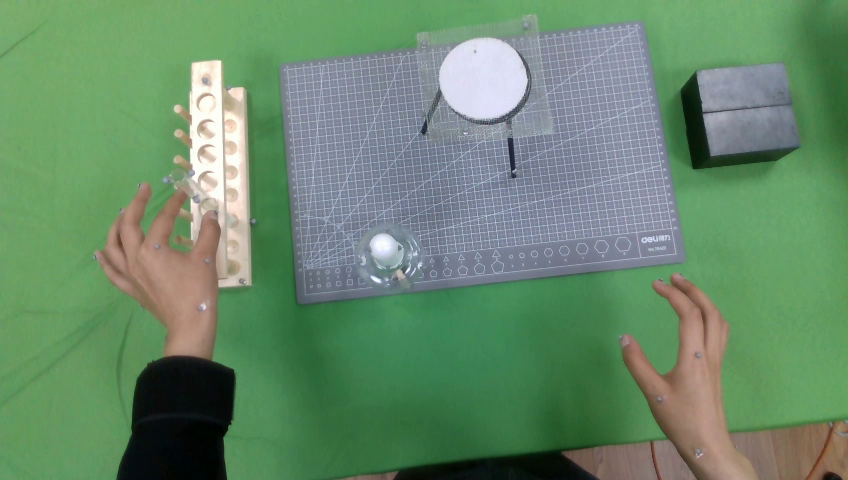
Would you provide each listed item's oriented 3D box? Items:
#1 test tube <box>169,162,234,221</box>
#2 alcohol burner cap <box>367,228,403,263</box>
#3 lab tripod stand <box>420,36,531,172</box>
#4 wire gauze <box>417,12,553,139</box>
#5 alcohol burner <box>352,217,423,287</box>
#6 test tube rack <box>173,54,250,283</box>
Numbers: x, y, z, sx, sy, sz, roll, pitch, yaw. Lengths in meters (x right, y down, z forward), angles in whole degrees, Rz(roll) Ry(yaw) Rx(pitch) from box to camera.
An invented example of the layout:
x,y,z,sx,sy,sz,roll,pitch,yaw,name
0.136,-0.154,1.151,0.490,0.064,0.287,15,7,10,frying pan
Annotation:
x,y,z,sx,sy,sz,roll,pitch,yaw,name
-0.228,-0.047,0.633,0.017,0.151,0.017,0,75,1,test tube
-0.041,0.004,0.615,0.034,0.048,0.033,-2,78,8,alcohol burner cap
0.065,-0.155,0.662,0.148,0.132,0.148,-1,79,3,lab tripod stand
0.059,-0.161,0.596,0.125,0.011,0.121,-5,82,1,wire gauze
-0.040,0.010,0.651,0.078,0.119,0.077,0,80,1,alcohol burner
-0.246,-0.077,0.688,0.067,0.085,0.241,-4,81,1,test tube rack
